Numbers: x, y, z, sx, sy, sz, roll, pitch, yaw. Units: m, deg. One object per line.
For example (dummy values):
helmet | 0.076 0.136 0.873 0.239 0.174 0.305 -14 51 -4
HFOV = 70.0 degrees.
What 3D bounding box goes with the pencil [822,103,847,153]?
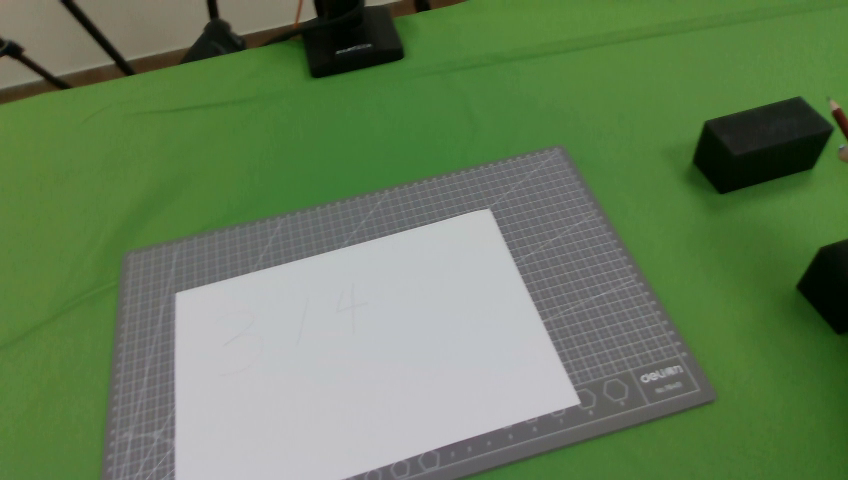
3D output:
pencil | 0.312 -0.035 0.416 0.012 0.012 0.192 -3 49 5
